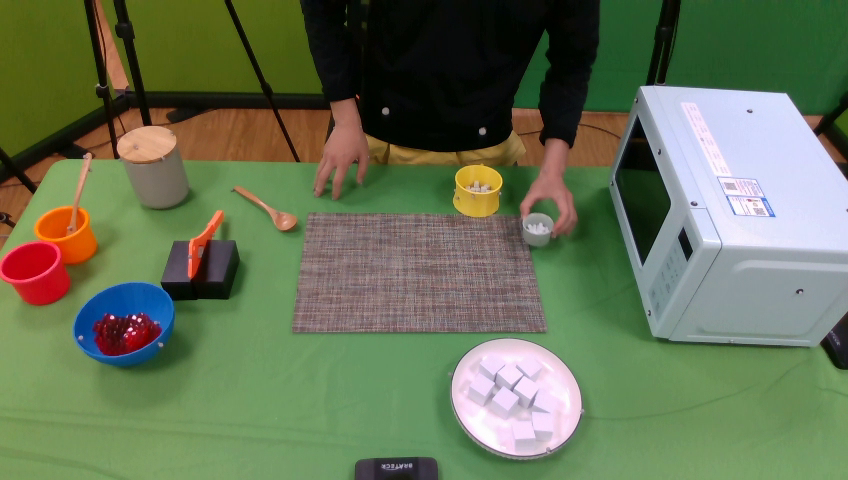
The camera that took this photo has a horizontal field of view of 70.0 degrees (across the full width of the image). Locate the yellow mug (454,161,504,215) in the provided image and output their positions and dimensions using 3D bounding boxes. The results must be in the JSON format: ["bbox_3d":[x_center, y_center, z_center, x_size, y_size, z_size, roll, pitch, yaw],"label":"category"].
[{"bbox_3d":[0.118,-0.119,1.283,0.100,0.064,0.130,8,44,6],"label":"yellow mug"}]

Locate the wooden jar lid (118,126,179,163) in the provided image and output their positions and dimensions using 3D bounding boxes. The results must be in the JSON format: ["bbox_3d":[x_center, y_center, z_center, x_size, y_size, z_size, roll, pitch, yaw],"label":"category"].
[{"bbox_3d":[-0.528,-0.181,1.167,0.108,0.021,0.107,3,47,-3],"label":"wooden jar lid"}]

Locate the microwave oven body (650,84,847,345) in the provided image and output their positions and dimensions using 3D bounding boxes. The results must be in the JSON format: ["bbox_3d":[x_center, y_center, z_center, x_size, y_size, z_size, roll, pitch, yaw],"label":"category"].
[{"bbox_3d":[0.568,-0.054,1.116,0.326,0.261,0.439,2,46,-1],"label":"microwave oven body"}]

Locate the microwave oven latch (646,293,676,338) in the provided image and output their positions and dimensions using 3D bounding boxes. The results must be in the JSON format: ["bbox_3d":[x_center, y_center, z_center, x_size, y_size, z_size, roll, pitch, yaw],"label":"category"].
[{"bbox_3d":[0.412,0.133,1.060,0.030,0.029,0.078,3,46,0],"label":"microwave oven latch"}]

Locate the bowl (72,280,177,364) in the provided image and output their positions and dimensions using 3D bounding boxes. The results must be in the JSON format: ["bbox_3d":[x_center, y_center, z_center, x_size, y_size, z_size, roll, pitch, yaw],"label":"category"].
[{"bbox_3d":[-0.472,0.147,0.982,0.151,0.077,0.150,2,46,-2],"label":"bowl"}]

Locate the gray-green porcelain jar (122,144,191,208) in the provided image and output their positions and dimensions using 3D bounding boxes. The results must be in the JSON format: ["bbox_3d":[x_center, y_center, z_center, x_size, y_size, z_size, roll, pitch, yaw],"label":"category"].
[{"bbox_3d":[-0.531,-0.137,1.213,0.106,0.127,0.105,2,47,-2],"label":"gray-green porcelain jar"}]

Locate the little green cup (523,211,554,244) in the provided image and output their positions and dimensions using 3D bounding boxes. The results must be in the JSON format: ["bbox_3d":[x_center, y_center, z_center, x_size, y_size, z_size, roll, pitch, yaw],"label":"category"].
[{"bbox_3d":[0.224,-0.023,1.188,0.061,0.039,0.061,-4,43,4],"label":"little green cup"}]

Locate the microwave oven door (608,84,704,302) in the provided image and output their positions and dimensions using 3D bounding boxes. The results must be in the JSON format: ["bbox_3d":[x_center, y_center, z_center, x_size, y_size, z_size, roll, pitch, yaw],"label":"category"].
[{"bbox_3d":[0.424,-0.096,1.138,0.039,0.245,0.353,3,46,-1],"label":"microwave oven door"}]

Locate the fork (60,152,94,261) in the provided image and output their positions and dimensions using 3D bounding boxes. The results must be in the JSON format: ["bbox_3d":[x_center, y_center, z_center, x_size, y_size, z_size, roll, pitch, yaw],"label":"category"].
[{"bbox_3d":[-0.638,-0.063,1.119,0.028,0.018,0.207,12,90,7],"label":"fork"}]

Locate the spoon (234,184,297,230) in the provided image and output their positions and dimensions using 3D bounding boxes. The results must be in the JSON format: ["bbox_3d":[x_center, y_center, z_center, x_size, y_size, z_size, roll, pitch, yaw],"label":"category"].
[{"bbox_3d":[-0.327,-0.073,1.239,0.193,0.022,0.041,34,71,25],"label":"spoon"}]

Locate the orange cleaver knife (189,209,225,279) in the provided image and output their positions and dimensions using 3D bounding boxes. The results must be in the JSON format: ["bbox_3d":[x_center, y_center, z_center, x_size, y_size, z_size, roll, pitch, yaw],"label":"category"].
[{"bbox_3d":[-0.400,0.002,1.122,0.012,0.077,0.210,4,23,-4],"label":"orange cleaver knife"}]

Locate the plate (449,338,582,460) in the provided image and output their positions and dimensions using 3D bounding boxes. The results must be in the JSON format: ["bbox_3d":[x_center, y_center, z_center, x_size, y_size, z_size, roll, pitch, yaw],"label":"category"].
[{"bbox_3d":[0.141,0.251,0.956,0.208,0.039,0.206,2,46,-2],"label":"plate"}]
